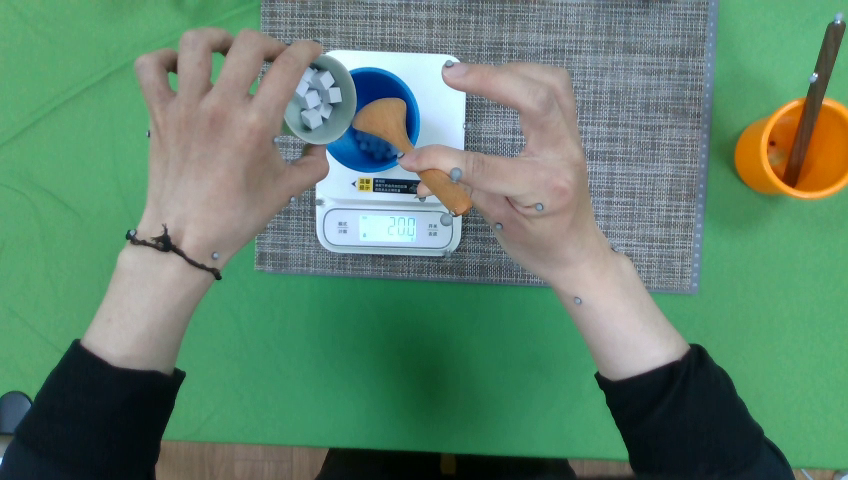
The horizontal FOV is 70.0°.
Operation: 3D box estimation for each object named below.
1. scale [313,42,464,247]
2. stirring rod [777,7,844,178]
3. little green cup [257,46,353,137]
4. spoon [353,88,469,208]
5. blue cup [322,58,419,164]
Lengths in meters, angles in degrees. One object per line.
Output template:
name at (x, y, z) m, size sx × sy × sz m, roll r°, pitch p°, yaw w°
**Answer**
scale at (-0.036, -0.094, 0.606) m, size 0.148 × 0.031 × 0.201 m, roll 2°, pitch 95°, yaw 2°
stirring rod at (0.343, -0.124, 0.543) m, size 0.014 × 0.005 × 0.178 m, roll -11°, pitch 136°, yaw 4°
little green cup at (-0.086, -0.106, 0.429) m, size 0.038 × 0.062 × 0.061 m, roll 19°, pitch 96°, yaw 44°
spoon at (-0.008, -0.061, 0.369) m, size 0.041 × 0.191 × 0.022 m, roll -28°, pitch 126°, yaw -5°
blue cup at (-0.044, -0.109, 0.540) m, size 0.092 × 0.100 × 0.093 m, roll 0°, pitch 96°, yaw 3°
